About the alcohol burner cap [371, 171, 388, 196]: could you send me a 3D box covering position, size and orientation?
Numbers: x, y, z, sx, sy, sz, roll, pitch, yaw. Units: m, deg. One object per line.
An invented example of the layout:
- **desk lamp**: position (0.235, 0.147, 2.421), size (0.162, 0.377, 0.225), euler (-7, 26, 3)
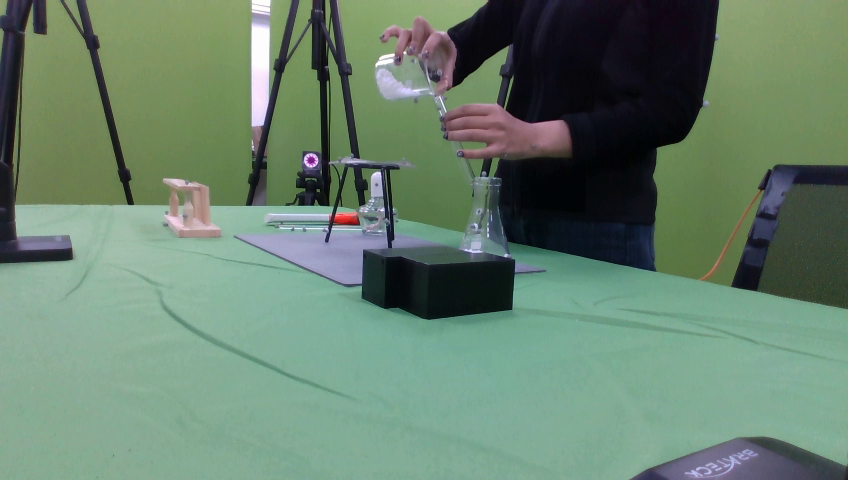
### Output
- **alcohol burner cap**: position (-0.085, -0.104, 1.120), size (0.034, 0.048, 0.034), euler (-5, 8, 1)

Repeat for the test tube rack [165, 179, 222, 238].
- **test tube rack**: position (-0.423, -0.062, 1.098), size (0.067, 0.085, 0.241), euler (-2, 8, -28)

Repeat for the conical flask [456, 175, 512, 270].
- **conical flask**: position (0.082, -0.025, 0.801), size (0.075, 0.122, 0.075), euler (2, 7, 0)

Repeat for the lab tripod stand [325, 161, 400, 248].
- **lab tripod stand**: position (-0.083, -0.059, 0.977), size (0.148, 0.131, 0.148), euler (4, 8, 0)

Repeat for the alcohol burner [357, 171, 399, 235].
- **alcohol burner**: position (-0.085, -0.069, 1.125), size (0.078, 0.119, 0.078), euler (3, 10, 0)

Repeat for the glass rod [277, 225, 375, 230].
- **glass rod**: position (-0.187, -0.024, 1.178), size (0.201, 0.008, 0.008), euler (1, 6, -31)

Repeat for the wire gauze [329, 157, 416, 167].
- **wire gauze**: position (-0.079, -0.126, 0.972), size (0.121, 0.011, 0.125), euler (4, 8, 5)

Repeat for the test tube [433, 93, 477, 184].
- **test tube**: position (0.048, -0.155, 0.925), size (0.017, 0.150, 0.017), euler (-22, -7, -2)

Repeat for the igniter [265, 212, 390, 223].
- **igniter**: position (-0.196, -0.048, 1.285), size (0.278, 0.025, 0.057), euler (-2, -2, -30)

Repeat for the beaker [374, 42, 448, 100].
- **beaker**: position (-0.022, -0.260, 0.954), size (0.100, 0.084, 0.074), euler (-1, 4, 29)
